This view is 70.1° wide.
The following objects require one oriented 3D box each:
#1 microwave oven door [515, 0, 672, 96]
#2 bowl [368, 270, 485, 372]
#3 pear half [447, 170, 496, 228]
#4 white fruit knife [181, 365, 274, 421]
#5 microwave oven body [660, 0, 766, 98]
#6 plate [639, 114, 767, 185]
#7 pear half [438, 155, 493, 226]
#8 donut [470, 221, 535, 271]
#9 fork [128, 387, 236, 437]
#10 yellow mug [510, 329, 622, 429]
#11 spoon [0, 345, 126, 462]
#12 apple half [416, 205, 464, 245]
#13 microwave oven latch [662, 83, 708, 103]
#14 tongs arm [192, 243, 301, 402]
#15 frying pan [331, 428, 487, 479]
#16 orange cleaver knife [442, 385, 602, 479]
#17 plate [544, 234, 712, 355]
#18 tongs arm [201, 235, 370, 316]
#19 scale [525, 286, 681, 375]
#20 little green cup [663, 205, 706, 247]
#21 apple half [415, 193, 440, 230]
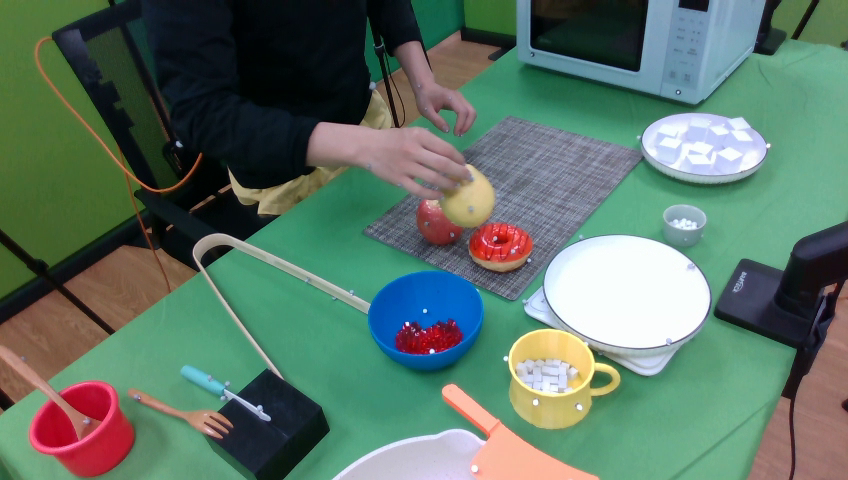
[{"bbox_3d":[0.344,-0.455,1.259,0.353,0.245,0.039,26,51,33],"label":"microwave oven door"},{"bbox_3d":[0.007,0.118,0.791,0.151,0.077,0.150,-5,40,4],"label":"bowl"},{"bbox_3d":[0.068,-0.049,0.804,0.070,0.088,0.031,-26,43,-16],"label":"pear half"},{"bbox_3d":[-0.246,0.188,0.747,0.205,0.027,0.016,9,41,41],"label":"white fruit knife"},{"bbox_3d":[0.472,-0.513,1.317,0.438,0.261,0.327,26,51,34],"label":"microwave oven body"},{"bbox_3d":[0.489,-0.157,1.074,0.207,0.039,0.206,-4,40,4],"label":"plate"},{"bbox_3d":[0.051,-0.077,0.822,0.076,0.110,0.055,-25,44,-16],"label":"pear half"},{"bbox_3d":[0.119,0.009,0.923,0.099,0.048,0.098,-3,39,3],"label":"donut"},{"bbox_3d":[-0.305,0.207,0.744,0.206,0.019,0.028,3,40,36],"label":"fork"},{"bbox_3d":[0.168,0.164,0.721,0.130,0.064,0.099,0,40,8],"label":"yellow mug"},{"bbox_3d":[-0.434,0.192,0.720,0.194,0.021,0.042,47,53,-7],"label":"spoon"},{"bbox_3d":[0.027,-0.018,0.944,0.081,0.081,0.032,-3,37,5],"label":"apple half"},{"bbox_3d":[0.517,-0.296,1.204,0.078,0.029,0.030,28,52,35],"label":"microwave oven latch"},{"bbox_3d":[-0.268,0.107,0.882,0.028,0.028,0.384,-34,46,-19],"label":"tongs arm"},{"bbox_3d":[-0.089,0.306,0.564,0.487,0.103,0.306,10,41,7],"label":"frying pan"},{"bbox_3d":[0.086,0.219,0.612,0.209,0.012,0.077,28,49,35],"label":"orange cleaver knife"},{"bbox_3d":[0.262,0.072,0.792,0.209,0.038,0.208,-4,41,4],"label":"plate"},{"bbox_3d":[-0.209,0.062,0.924,0.381,0.026,0.051,23,52,33],"label":"tongs arm"},{"bbox_3d":[0.254,0.091,0.821,0.199,0.032,0.149,28,51,35],"label":"scale"},{"bbox_3d":[0.396,-0.021,0.926,0.061,0.039,0.061,-4,40,4],"label":"little green cup"},{"bbox_3d":[0.028,-0.042,0.974,0.081,0.075,0.053,-5,37,7],"label":"apple half"}]
